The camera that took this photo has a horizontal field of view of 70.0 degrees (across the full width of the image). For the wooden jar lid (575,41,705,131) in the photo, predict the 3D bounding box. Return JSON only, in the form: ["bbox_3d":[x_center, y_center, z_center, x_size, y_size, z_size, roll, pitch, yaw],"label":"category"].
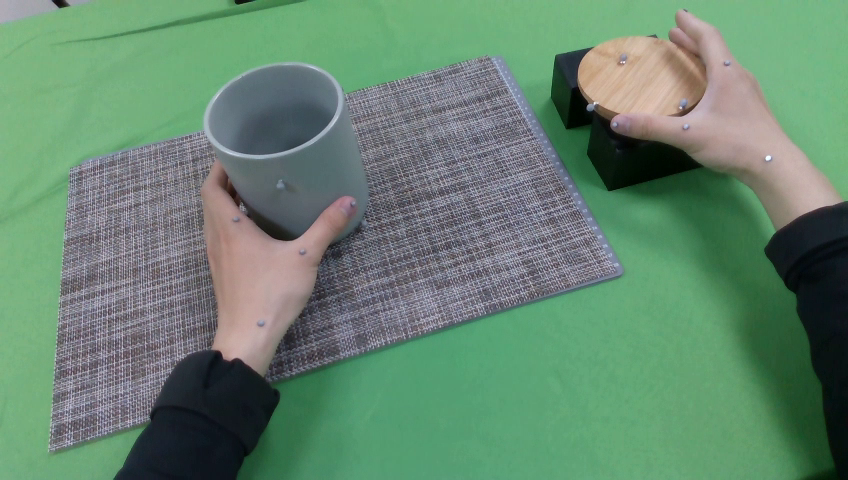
[{"bbox_3d":[0.187,-0.134,0.531,0.108,0.021,0.107,-3,55,4],"label":"wooden jar lid"}]

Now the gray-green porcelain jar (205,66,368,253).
[{"bbox_3d":[-0.105,-0.059,0.499,0.106,0.128,0.105,-3,53,5],"label":"gray-green porcelain jar"}]
